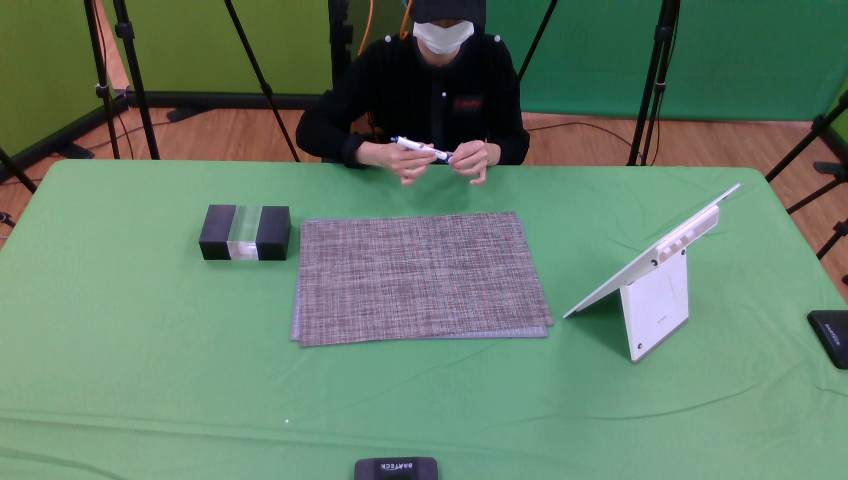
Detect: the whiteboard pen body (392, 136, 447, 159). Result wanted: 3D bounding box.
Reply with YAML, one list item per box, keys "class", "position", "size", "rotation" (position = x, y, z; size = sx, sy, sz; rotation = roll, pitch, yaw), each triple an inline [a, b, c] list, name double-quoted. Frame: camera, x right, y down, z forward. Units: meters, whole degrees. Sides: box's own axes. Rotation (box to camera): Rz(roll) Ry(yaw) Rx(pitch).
- class: "whiteboard pen body"
  position: [0.001, -0.184, 1.233]
  size: [0.141, 0.017, 0.017]
  rotation: [16, 43, -22]

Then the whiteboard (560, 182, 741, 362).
- class: "whiteboard"
  position: [0.406, 0.075, 1.001]
  size: [0.217, 0.306, 0.143]
  rotation: [-28, 73, -28]

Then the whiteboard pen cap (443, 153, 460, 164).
- class: "whiteboard pen cap"
  position: [0.057, -0.170, 1.256]
  size: [0.033, 0.018, 0.018]
  rotation: [13, 44, -16]
